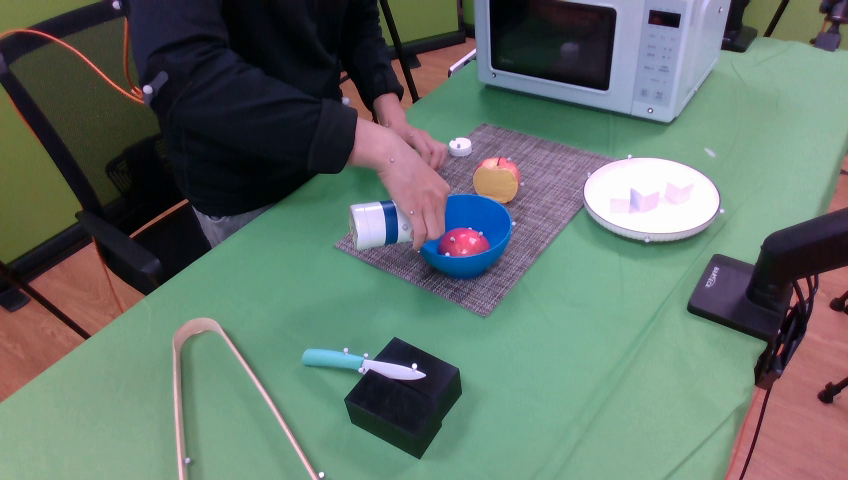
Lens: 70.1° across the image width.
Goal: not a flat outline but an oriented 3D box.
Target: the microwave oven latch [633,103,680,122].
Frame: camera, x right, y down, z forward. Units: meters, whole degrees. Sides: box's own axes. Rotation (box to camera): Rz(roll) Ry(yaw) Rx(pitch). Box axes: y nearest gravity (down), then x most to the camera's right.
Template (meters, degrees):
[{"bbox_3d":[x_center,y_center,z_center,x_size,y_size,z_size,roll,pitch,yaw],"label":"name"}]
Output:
[{"bbox_3d":[0.444,-0.249,1.157,0.078,0.029,0.030,21,49,30],"label":"microwave oven latch"}]

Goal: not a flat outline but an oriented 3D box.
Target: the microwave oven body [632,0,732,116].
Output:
[{"bbox_3d":[0.377,-0.463,1.267,0.438,0.261,0.327,21,48,30],"label":"microwave oven body"}]

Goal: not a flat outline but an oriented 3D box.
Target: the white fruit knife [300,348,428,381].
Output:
[{"bbox_3d":[-0.080,0.154,0.748,0.206,0.027,0.016,1,20,34],"label":"white fruit knife"}]

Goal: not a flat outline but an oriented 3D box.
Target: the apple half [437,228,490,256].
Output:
[{"bbox_3d":[0.055,0.002,0.901,0.081,0.033,0.081,-3,40,3],"label":"apple half"}]

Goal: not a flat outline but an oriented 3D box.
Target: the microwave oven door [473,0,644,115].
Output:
[{"bbox_3d":[0.257,-0.396,1.199,0.353,0.245,0.039,21,48,29],"label":"microwave oven door"}]

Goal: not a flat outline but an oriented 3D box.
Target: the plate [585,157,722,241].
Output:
[{"bbox_3d":[0.367,-0.063,0.979,0.207,0.039,0.206,-4,40,4],"label":"plate"}]

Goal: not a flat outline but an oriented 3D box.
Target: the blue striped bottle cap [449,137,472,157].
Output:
[{"bbox_3d":[0.071,-0.180,1.169,0.044,0.021,0.044,-5,43,5],"label":"blue striped bottle cap"}]

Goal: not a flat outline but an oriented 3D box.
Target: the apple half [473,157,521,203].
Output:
[{"bbox_3d":[0.128,-0.107,1.030,0.080,0.075,0.053,4,38,19],"label":"apple half"}]

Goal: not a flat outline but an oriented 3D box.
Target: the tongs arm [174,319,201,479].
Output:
[{"bbox_3d":[-0.272,0.234,0.723,0.051,0.026,0.381,-19,40,-14],"label":"tongs arm"}]

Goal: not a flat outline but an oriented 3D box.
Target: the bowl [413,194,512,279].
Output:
[{"bbox_3d":[0.058,0.005,0.905,0.151,0.077,0.150,-4,39,4],"label":"bowl"}]

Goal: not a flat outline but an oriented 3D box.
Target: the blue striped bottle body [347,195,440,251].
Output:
[{"bbox_3d":[-0.040,-0.026,0.830,0.121,0.063,0.062,-10,40,-16],"label":"blue striped bottle body"}]

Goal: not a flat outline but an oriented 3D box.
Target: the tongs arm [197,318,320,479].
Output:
[{"bbox_3d":[-0.199,0.207,0.750,0.028,0.028,0.384,-31,45,-22],"label":"tongs arm"}]
